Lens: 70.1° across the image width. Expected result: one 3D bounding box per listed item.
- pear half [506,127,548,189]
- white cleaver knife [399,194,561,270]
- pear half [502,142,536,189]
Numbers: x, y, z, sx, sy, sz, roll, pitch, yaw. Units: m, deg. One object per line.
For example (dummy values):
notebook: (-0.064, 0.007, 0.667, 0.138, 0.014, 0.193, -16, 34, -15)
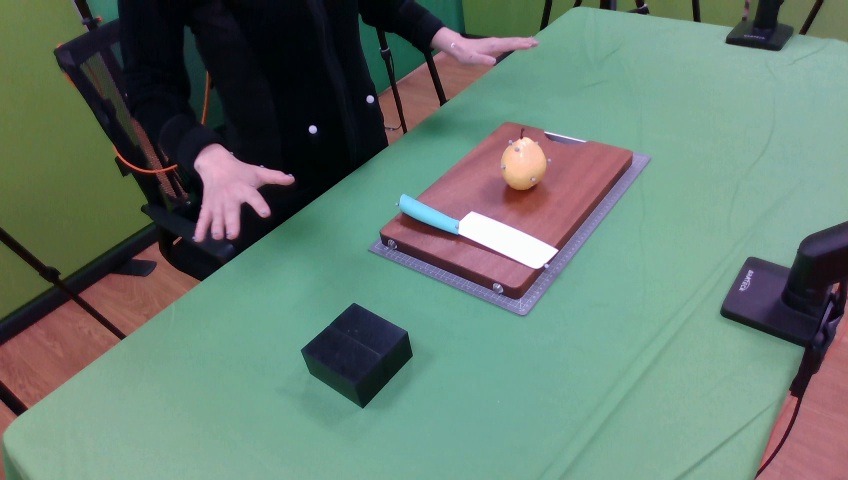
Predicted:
pear half: (0.174, -0.145, 1.011, 0.076, 0.110, 0.056, 27, 52, 30)
white cleaver knife: (0.079, -0.019, 0.958, 0.284, 0.021, 0.066, 26, 46, 28)
pear half: (0.152, -0.119, 1.000, 0.070, 0.088, 0.031, 28, 53, 30)
